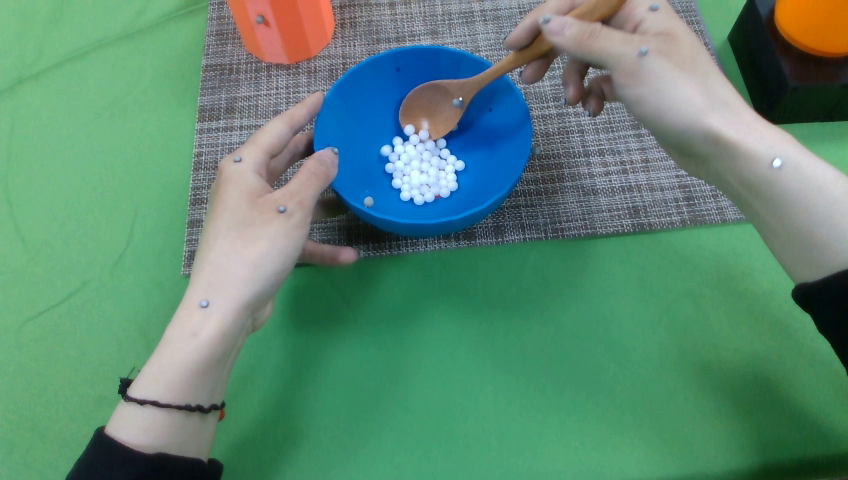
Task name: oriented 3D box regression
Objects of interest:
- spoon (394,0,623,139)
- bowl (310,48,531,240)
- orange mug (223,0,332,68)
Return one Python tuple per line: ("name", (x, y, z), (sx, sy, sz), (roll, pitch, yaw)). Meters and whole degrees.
("spoon", (0.047, -0.109, 0.396), (0.042, 0.193, 0.021), (30, 60, -32))
("bowl", (-0.001, -0.057, 0.444), (0.151, 0.077, 0.150), (0, 63, 1))
("orange mug", (-0.127, -0.229, 0.522), (0.083, 0.101, 0.125), (6, 68, 5))
